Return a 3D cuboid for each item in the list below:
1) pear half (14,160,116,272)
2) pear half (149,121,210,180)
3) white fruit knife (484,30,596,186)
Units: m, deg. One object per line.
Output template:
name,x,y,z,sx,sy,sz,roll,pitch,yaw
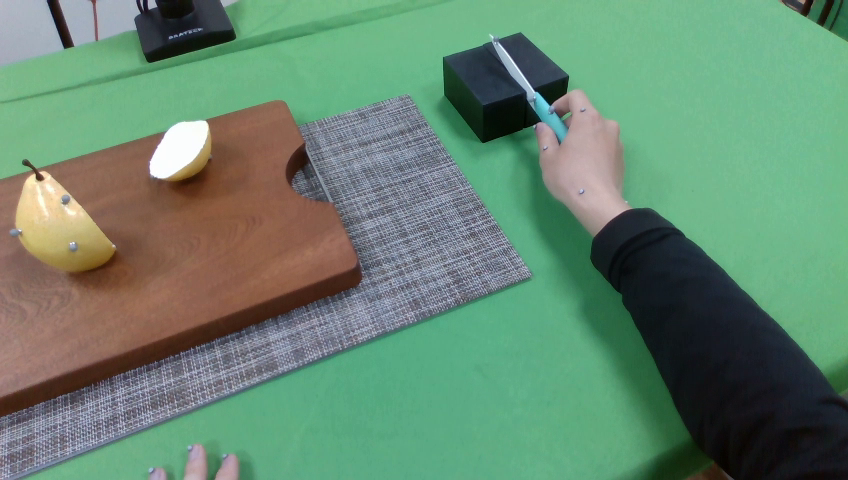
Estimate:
pear half,-0.309,-0.017,0.497,0.076,0.111,0.056,25,56,28
pear half,-0.236,-0.085,0.599,0.070,0.031,0.087,-31,39,-1
white fruit knife,0.114,-0.142,0.622,0.016,0.027,0.206,-27,71,-12
